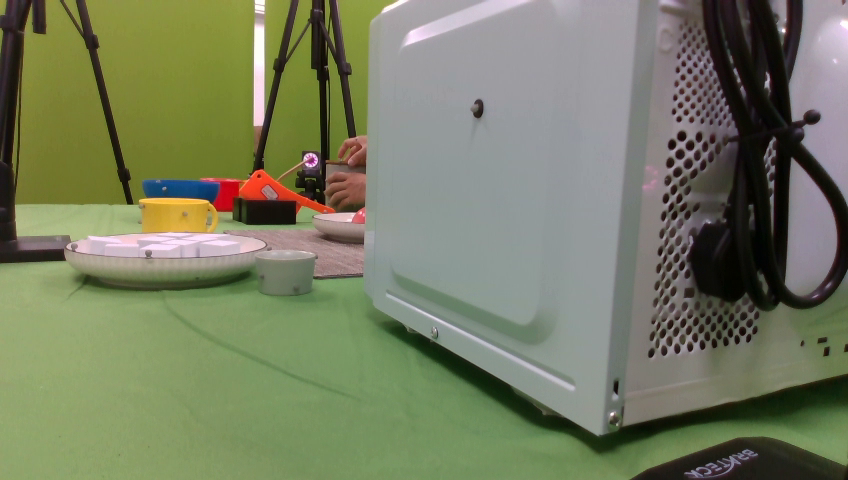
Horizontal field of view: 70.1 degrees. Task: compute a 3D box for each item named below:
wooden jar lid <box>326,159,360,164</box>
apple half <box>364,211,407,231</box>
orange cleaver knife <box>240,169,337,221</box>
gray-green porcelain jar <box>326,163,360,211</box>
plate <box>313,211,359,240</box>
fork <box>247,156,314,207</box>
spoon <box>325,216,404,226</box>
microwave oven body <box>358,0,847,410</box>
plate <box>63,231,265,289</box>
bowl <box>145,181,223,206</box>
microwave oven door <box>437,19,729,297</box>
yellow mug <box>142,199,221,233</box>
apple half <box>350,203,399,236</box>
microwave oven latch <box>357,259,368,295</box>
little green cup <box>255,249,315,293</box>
[{"bbox_3d":[-0.185,-0.186,1.481,0.108,0.020,0.108,3,6,0],"label":"wooden jar lid"},{"bbox_3d":[-0.068,-0.037,1.104,0.081,0.033,0.081,-1,9,0],"label":"apple half"},{"bbox_3d":[-0.286,-0.082,1.299,0.212,0.077,0.012,25,-2,-31],"label":"orange cleaver knife"},{"bbox_3d":[-0.187,-0.125,1.489,0.106,0.126,0.106,2,8,0],"label":"gray-green porcelain jar"},{"bbox_3d":[-0.091,-0.026,1.063,0.209,0.038,0.209,2,7,0],"label":"plate"},{"bbox_3d":[-0.360,-0.147,1.522,0.207,0.018,0.028,-43,13,-7],"label":"fork"},{"bbox_3d":[-0.120,-0.043,1.272,0.195,0.021,0.041,-4,-10,-38],"label":"spoon"},{"bbox_3d":[0.210,-0.051,0.471,0.444,0.260,0.324,-1,7,-28],"label":"microwave oven body"},{"bbox_3d":[-0.288,0.021,0.687,0.208,0.039,0.207,2,8,0],"label":"plate"},{"bbox_3d":[-0.499,-0.081,1.261,0.151,0.077,0.151,2,7,0],"label":"bowl"},{"bbox_3d":[0.180,-0.076,0.618,0.358,0.243,0.039,-2,9,-28],"label":"microwave oven door"},{"bbox_3d":[-0.373,-0.030,0.948,0.099,0.064,0.131,5,7,30],"label":"yellow mug"},{"bbox_3d":[-0.082,-0.036,1.024,0.081,0.053,0.074,-2,11,-34],"label":"apple half"},{"bbox_3d":[-0.019,0.031,0.529,0.079,0.029,0.030,-1,7,-26],"label":"microwave oven latch"},{"bbox_3d":[-0.144,0.032,0.627,0.061,0.038,0.061,2,6,0],"label":"little green cup"}]
